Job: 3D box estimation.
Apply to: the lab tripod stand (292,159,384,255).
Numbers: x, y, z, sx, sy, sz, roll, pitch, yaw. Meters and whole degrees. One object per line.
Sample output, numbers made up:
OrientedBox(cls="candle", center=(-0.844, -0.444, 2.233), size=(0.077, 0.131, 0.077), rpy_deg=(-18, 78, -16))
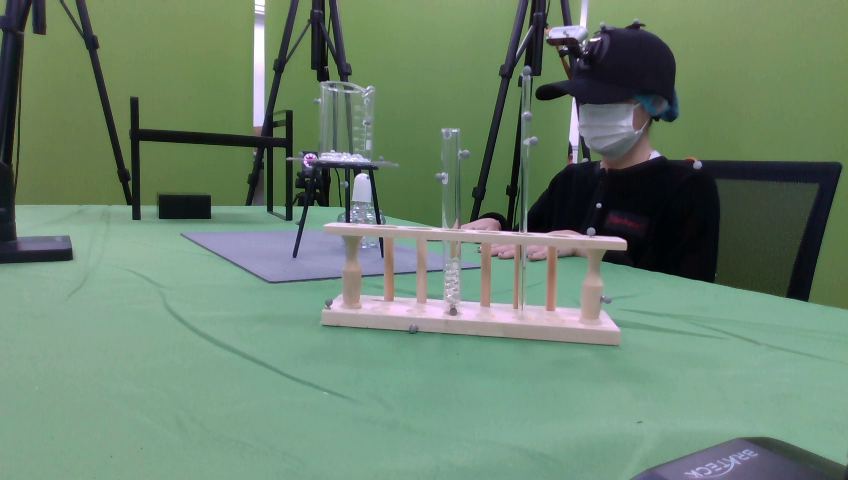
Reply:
OrientedBox(cls="lab tripod stand", center=(-0.105, -0.039, 0.797), size=(0.148, 0.131, 0.148), rpy_deg=(2, 5, 0))

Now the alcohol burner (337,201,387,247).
OrientedBox(cls="alcohol burner", center=(-0.098, -0.049, 0.954), size=(0.078, 0.119, 0.078), rpy_deg=(0, 6, 0))

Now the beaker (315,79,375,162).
OrientedBox(cls="beaker", center=(-0.100, -0.151, 0.778), size=(0.074, 0.100, 0.083), rpy_deg=(-3, 8, -38))

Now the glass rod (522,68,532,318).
OrientedBox(cls="glass rod", center=(0.081, -0.031, 0.472), size=(0.008, 0.199, 0.008), rpy_deg=(-2, 14, 1))

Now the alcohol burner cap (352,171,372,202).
OrientedBox(cls="alcohol burner cap", center=(-0.096, -0.084, 0.951), size=(0.034, 0.048, 0.034), rpy_deg=(6, 5, 0))

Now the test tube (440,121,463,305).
OrientedBox(cls="test tube", center=(0.023, -0.019, 0.487), size=(0.017, 0.150, 0.017), rpy_deg=(-2, 14, 1))

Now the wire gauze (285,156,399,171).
OrientedBox(cls="wire gauze", center=(-0.102, -0.103, 0.787), size=(0.121, 0.011, 0.125), rpy_deg=(5, 4, 6))

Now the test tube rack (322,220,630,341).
OrientedBox(cls="test tube rack", center=(0.041, 0.029, 0.512), size=(0.242, 0.085, 0.067), rpy_deg=(3, 7, 5))
